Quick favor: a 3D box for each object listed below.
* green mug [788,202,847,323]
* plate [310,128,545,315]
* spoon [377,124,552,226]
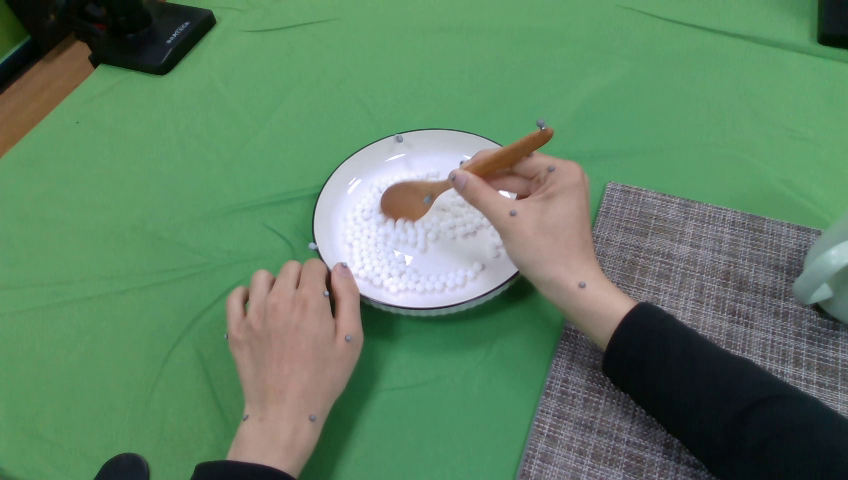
[{"bbox_3d":[0.333,0.014,0.452,0.125,0.106,0.091,-19,55,-9],"label":"green mug"},{"bbox_3d":[0.004,-0.018,0.550,0.209,0.038,0.207,-2,53,3],"label":"plate"},{"bbox_3d":[0.026,-0.049,0.496,0.193,0.042,0.021,-20,22,47],"label":"spoon"}]
